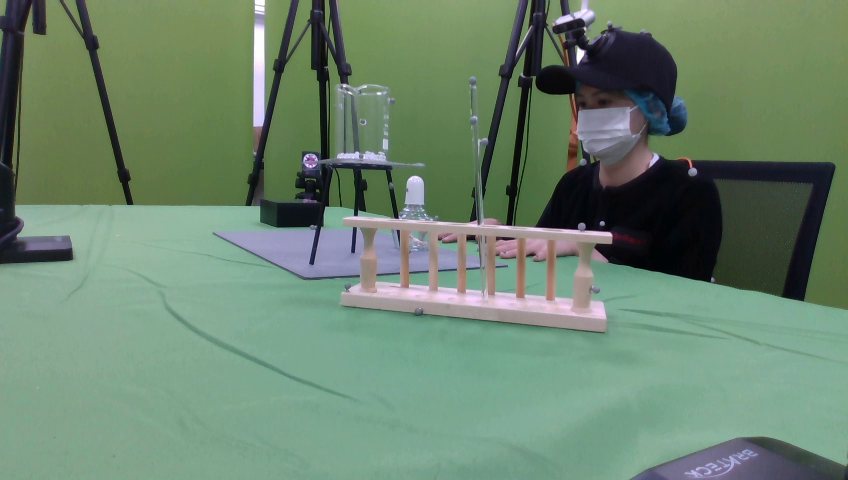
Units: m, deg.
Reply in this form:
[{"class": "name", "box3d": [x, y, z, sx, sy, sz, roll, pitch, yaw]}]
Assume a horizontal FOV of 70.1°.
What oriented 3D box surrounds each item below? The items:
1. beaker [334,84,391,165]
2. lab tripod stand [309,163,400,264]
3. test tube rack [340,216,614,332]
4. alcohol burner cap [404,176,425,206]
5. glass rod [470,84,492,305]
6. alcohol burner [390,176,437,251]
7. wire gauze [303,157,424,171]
[{"class": "beaker", "box3d": [-0.082, -0.149, 0.792, 0.074, 0.100, 0.084, 2, 5, 5]}, {"class": "lab tripod stand", "box3d": [-0.091, -0.037, 0.813, 0.148, 0.131, 0.148, 1, 6, 0]}, {"class": "test tube rack", "box3d": [0.048, 0.026, 0.568, 0.242, 0.085, 0.067, 4, 8, 13]}, {"class": "alcohol burner cap", "box3d": [-0.015, -0.077, 0.951, 0.034, 0.048, 0.034, 2, 4, 0]}, {"class": "glass rod", "box3d": [0.051, -0.036, 0.535, 0.008, 0.199, 0.008, -5, 10, 1]}, {"class": "alcohol burner", "box3d": [-0.016, -0.042, 0.955, 0.078, 0.119, 0.078, 4, 5, 0]}, {"class": "wire gauze", "box3d": [-0.082, -0.101, 0.799, 0.126, 0.011, 0.121, 1, 7, -30]}]
